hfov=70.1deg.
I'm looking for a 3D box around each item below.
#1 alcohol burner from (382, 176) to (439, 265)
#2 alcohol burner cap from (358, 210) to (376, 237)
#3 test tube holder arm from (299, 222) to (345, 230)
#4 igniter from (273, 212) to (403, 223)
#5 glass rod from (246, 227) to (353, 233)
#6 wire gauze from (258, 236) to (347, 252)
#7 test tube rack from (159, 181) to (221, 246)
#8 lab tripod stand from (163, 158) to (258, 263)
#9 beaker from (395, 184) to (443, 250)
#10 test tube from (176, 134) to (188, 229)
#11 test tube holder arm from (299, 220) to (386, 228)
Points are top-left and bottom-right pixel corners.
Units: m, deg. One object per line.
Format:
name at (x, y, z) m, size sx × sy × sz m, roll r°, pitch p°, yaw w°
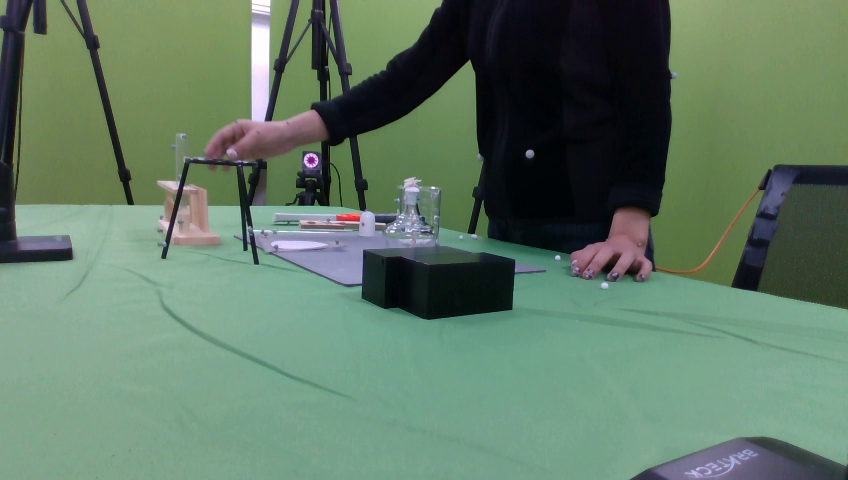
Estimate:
alcohol burner at (-0.018, -0.027, 0.818) m, size 0.078 × 0.119 × 0.078 m, roll 3°, pitch 9°, yaw 0°
alcohol burner cap at (-0.104, -0.030, 1.098) m, size 0.034 × 0.048 × 0.034 m, roll 2°, pitch 7°, yaw 0°
test tube holder arm at (-0.196, -0.027, 1.169) m, size 0.088 × 0.015 × 0.010 m, roll -1°, pitch 42°, yaw -28°
igniter at (-0.179, -0.048, 1.290) m, size 0.278 × 0.025 × 0.057 m, roll -1°, pitch -2°, yaw -24°
glass rod at (-0.224, -0.017, 1.109) m, size 0.201 × 0.008 × 0.008 m, roll 1°, pitch 7°, yaw -27°
wire gauze at (-0.189, 0.005, 0.931) m, size 0.122 × 0.011 × 0.124 m, roll 1°, pitch 7°, yaw -21°
test tube rack at (-0.395, -0.050, 1.010) m, size 0.067 × 0.085 × 0.241 m, roll -2°, pitch 8°, yaw -28°
lab tripod stand at (-0.265, -0.041, 0.802) m, size 0.148 × 0.131 × 0.148 m, roll 4°, pitch 7°, yaw 0°
beaker at (-0.007, -0.037, 0.964) m, size 0.074 × 0.100 × 0.083 m, roll -4°, pitch 10°, yaw -40°
test tube at (-0.374, -0.089, 0.938) m, size 0.017 × 0.150 × 0.017 m, roll 1°, pitch 4°, yaw 0°
test tube holder arm at (-0.158, -0.032, 1.195) m, size 0.179 × 0.015 × 0.013 m, roll -1°, pitch 42°, yaw -28°
